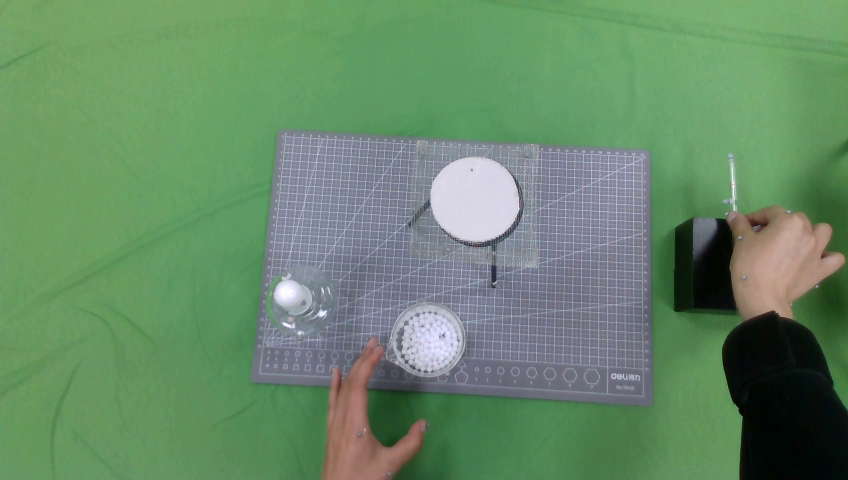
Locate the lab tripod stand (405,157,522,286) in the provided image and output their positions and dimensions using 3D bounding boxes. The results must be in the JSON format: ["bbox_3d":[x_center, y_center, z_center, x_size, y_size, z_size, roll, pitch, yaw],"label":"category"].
[{"bbox_3d":[0.051,-0.029,0.648,0.148,0.132,0.147,0,77,0],"label":"lab tripod stand"}]

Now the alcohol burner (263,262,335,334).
[{"bbox_3d":[-0.135,0.060,0.640,0.078,0.119,0.077,0,81,-1],"label":"alcohol burner"}]

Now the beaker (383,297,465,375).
[{"bbox_3d":[-0.001,0.106,0.640,0.084,0.100,0.073,-23,80,-5],"label":"beaker"}]

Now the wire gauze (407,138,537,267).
[{"bbox_3d":[0.048,-0.038,0.582,0.125,0.011,0.121,4,80,0],"label":"wire gauze"}]

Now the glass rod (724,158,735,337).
[{"bbox_3d":[0.335,0.005,0.663,0.008,0.008,0.199,3,80,0],"label":"glass rod"}]

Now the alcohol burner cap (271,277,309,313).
[{"bbox_3d":[-0.136,0.054,0.605,0.034,0.048,0.033,-1,74,2],"label":"alcohol burner cap"}]
